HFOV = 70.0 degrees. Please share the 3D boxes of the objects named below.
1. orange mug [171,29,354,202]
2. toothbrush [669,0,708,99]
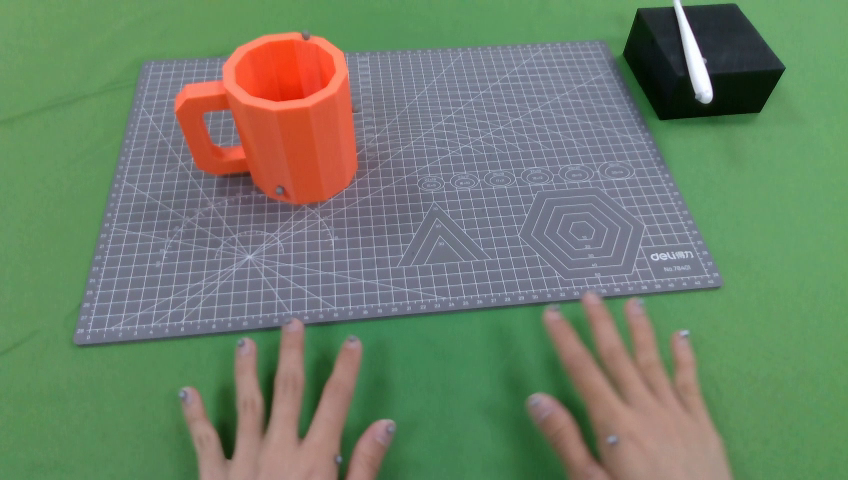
[{"bbox_3d":[-0.117,-0.090,0.453,0.126,0.101,0.082,-8,54,-13],"label":"orange mug"},{"bbox_3d":[0.229,-0.188,0.535,0.014,0.017,0.180,6,54,-1],"label":"toothbrush"}]
